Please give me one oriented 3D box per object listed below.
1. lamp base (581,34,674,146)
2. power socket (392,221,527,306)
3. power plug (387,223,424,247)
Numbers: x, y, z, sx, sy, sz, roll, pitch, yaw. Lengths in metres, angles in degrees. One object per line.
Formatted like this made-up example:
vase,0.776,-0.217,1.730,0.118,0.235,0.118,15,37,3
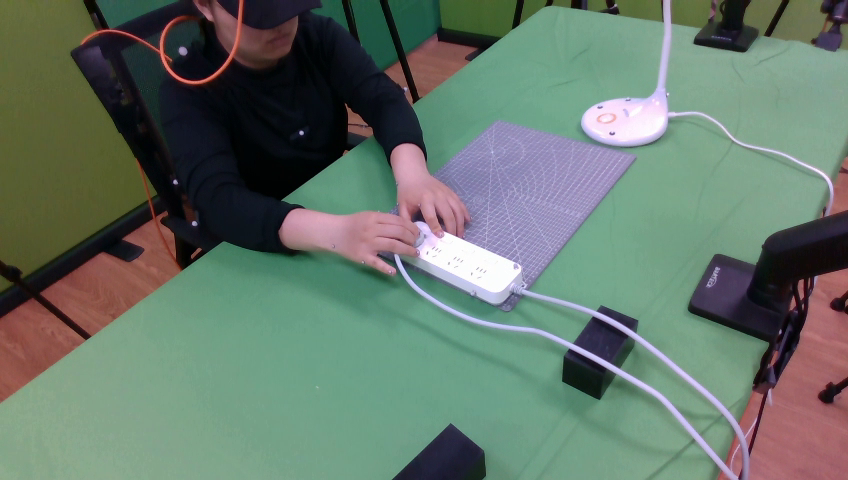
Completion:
lamp base,0.392,-0.291,1.129,0.180,0.181,0.159,-11,41,-8
power socket,0.047,0.031,0.913,0.225,0.033,0.072,25,51,32
power plug,-0.033,0.001,0.920,0.073,0.053,0.035,-26,46,-26
